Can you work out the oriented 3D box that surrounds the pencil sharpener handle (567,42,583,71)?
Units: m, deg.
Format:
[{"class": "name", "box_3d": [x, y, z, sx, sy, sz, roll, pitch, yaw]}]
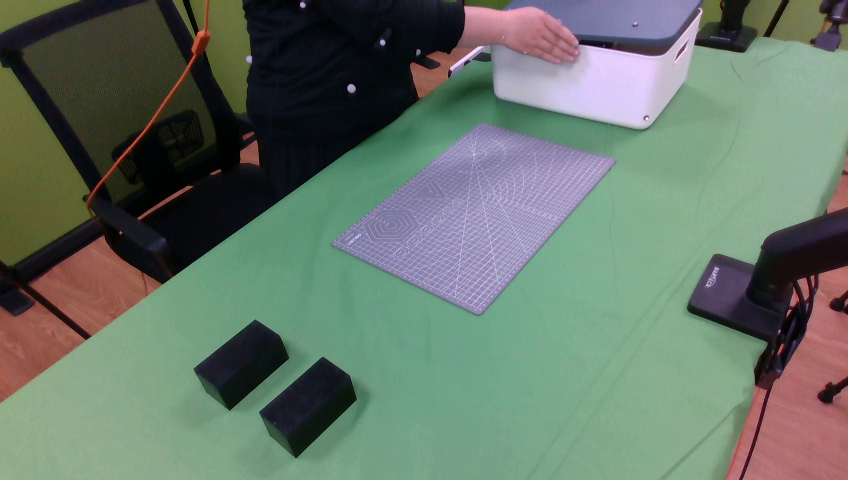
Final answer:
[{"class": "pencil sharpener handle", "box_3d": [0.319, -0.391, 1.290, 0.030, 0.068, 0.036, 17, 56, 29]}]

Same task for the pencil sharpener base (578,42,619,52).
[{"class": "pencil sharpener base", "box_3d": [0.362, -0.367, 1.272, 0.076, 0.107, 0.061, 17, 47, 29]}]

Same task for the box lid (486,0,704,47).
[{"class": "box lid", "box_3d": [0.335, -0.447, 1.184, 0.368, 0.015, 0.264, 16, 47, 30]}]

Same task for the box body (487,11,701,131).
[{"class": "box body", "box_3d": [0.345, -0.379, 1.257, 0.361, 0.161, 0.255, 20, 48, 29]}]
